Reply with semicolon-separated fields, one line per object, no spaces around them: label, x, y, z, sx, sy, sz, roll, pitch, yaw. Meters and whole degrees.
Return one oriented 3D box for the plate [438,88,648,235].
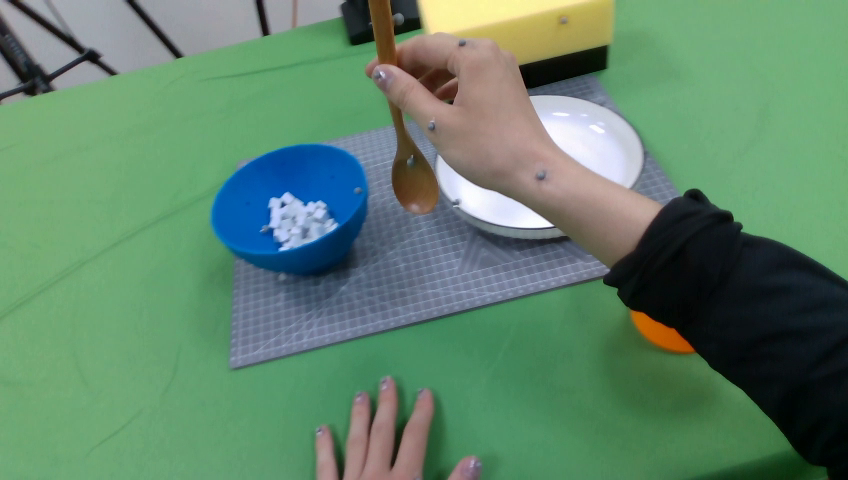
plate;0.119;-0.080;0.622;0.209;0.038;0.207;-6;49;7

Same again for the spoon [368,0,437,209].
spoon;-0.018;-0.091;0.418;0.041;0.195;0.021;15;57;18

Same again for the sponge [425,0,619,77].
sponge;0.109;-0.269;0.714;0.207;0.061;0.117;-13;48;0

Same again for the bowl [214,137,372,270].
bowl;-0.117;-0.023;0.595;0.151;0.077;0.150;-6;48;7
